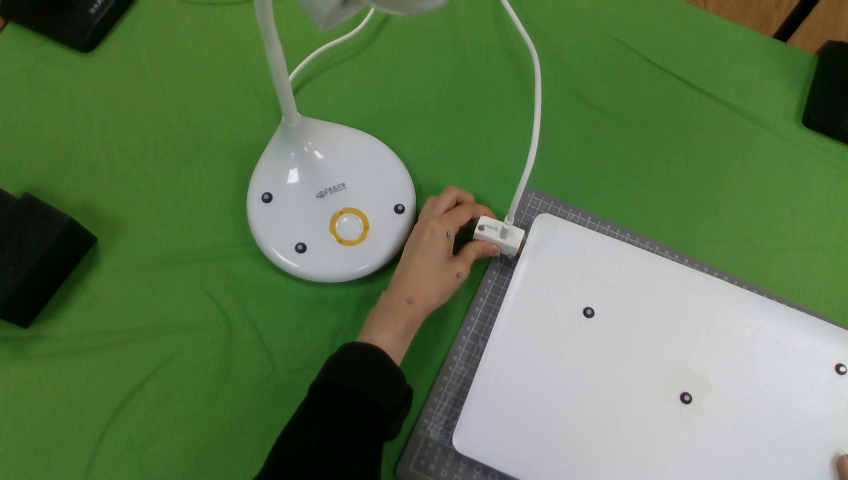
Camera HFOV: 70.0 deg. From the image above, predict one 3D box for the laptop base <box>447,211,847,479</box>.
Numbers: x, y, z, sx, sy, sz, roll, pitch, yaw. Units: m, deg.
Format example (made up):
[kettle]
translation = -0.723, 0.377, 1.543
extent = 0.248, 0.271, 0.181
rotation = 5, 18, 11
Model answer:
[laptop base]
translation = 0.222, 0.137, 0.540
extent = 0.354, 0.023, 0.234
rotation = 22, 74, 4

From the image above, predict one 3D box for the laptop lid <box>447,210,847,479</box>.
[laptop lid]
translation = 0.221, 0.135, 0.528
extent = 0.356, 0.013, 0.240
rotation = 23, 73, 5

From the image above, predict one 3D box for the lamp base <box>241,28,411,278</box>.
[lamp base]
translation = -0.096, -0.076, 0.509
extent = 0.160, 0.181, 0.178
rotation = -35, 73, -15

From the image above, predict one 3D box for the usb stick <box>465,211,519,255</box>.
[usb stick]
translation = 0.070, -0.004, 0.567
extent = 0.059, 0.027, 0.021
rotation = 23, 67, 0

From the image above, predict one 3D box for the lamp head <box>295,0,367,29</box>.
[lamp head]
translation = -0.034, -0.158, 0.220
extent = 0.112, 0.112, 0.123
rotation = -44, 102, -17
